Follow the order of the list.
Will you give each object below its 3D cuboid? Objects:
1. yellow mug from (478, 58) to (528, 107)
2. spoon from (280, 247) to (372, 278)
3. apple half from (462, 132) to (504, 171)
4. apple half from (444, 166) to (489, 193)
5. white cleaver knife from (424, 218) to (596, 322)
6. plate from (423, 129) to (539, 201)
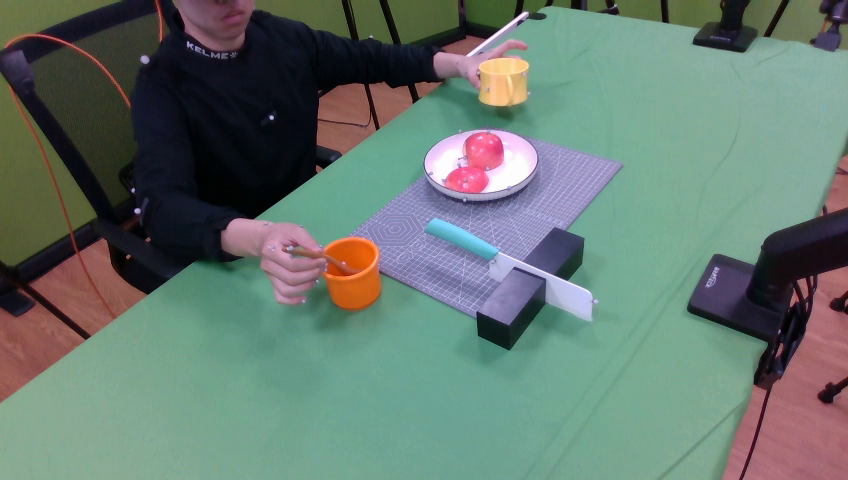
[{"bbox_3d":[0.160,-0.310,1.205,0.100,0.064,0.130,-7,35,-2],"label":"yellow mug"},{"bbox_3d":[-0.132,0.030,0.821,0.041,0.195,0.021,4,77,28],"label":"spoon"},{"bbox_3d":[0.109,-0.170,1.110,0.075,0.053,0.080,-6,40,-2],"label":"apple half"},{"bbox_3d":[0.074,-0.112,1.063,0.081,0.033,0.081,-6,39,5],"label":"apple half"},{"bbox_3d":[0.114,0.042,0.865,0.284,0.066,0.021,27,47,28],"label":"white cleaver knife"},{"bbox_3d":[0.103,-0.132,1.092,0.209,0.038,0.208,-4,40,4],"label":"plate"}]
